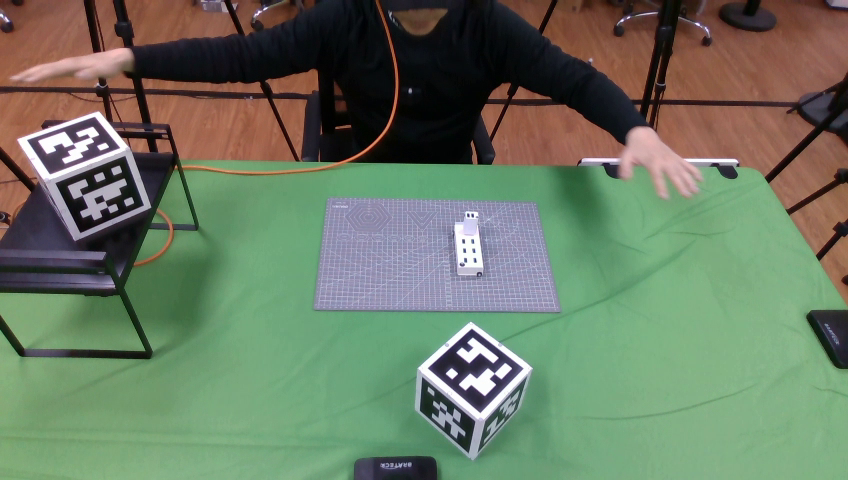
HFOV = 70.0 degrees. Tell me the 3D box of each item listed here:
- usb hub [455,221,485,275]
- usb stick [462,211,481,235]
[{"bbox_3d":[0.088,0.014,1.178,0.049,0.025,0.124,0,46,-2],"label":"usb hub"},{"bbox_3d":[0.092,-0.037,1.168,0.027,0.059,0.021,-24,61,-19],"label":"usb stick"}]
